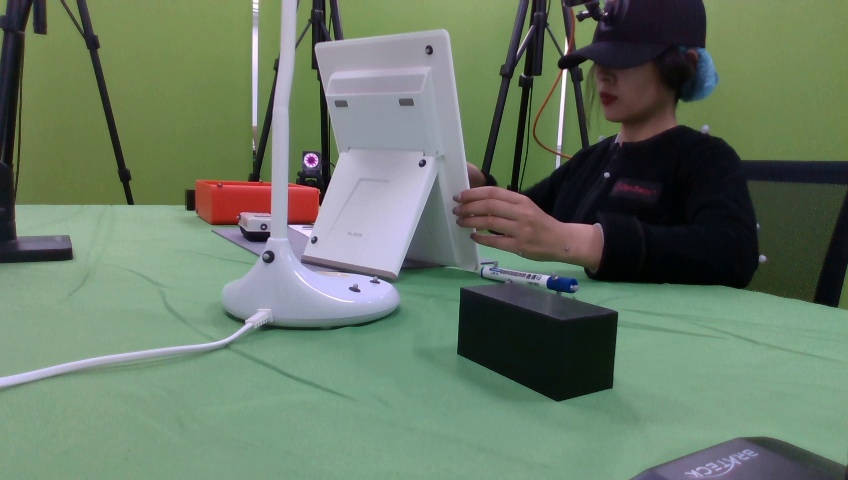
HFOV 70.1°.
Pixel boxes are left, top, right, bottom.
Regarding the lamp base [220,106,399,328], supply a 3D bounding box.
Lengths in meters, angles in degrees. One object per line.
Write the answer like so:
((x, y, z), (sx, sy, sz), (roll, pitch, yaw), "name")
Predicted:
((-0.102, -0.023, 0.531), (0.160, 0.180, 0.179), (4, 10, 10), "lamp base")

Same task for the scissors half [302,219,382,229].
((-0.161, -0.030, 1.198), (0.176, 0.013, 0.040), (-7, 15, -39), "scissors half")

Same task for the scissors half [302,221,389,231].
((-0.151, -0.025, 1.180), (0.176, 0.013, 0.040), (-1, 18, -21), "scissors half")

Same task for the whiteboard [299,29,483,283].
((-0.074, -0.082, 0.742), (0.216, 0.305, 0.144), (9, 29, 38), "whiteboard")

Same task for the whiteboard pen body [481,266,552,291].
((0.115, 0.045, 0.695), (0.017, 0.017, 0.140), (-3, 6, -35), "whiteboard pen body")

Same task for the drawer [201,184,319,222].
((-0.353, -0.082, 1.296), (0.213, 0.073, 0.193), (-2, 9, -28), "drawer")

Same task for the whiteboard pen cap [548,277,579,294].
((0.148, 0.049, 0.647), (0.018, 0.018, 0.033), (-3, 3, -36), "whiteboard pen cap")

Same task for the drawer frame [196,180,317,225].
((-0.359, -0.083, 1.292), (0.215, 0.082, 0.200), (-2, 10, -30), "drawer frame")

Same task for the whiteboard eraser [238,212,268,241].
((-0.272, -0.023, 0.998), (0.056, 0.042, 0.112), (-2, 9, -24), "whiteboard eraser")
